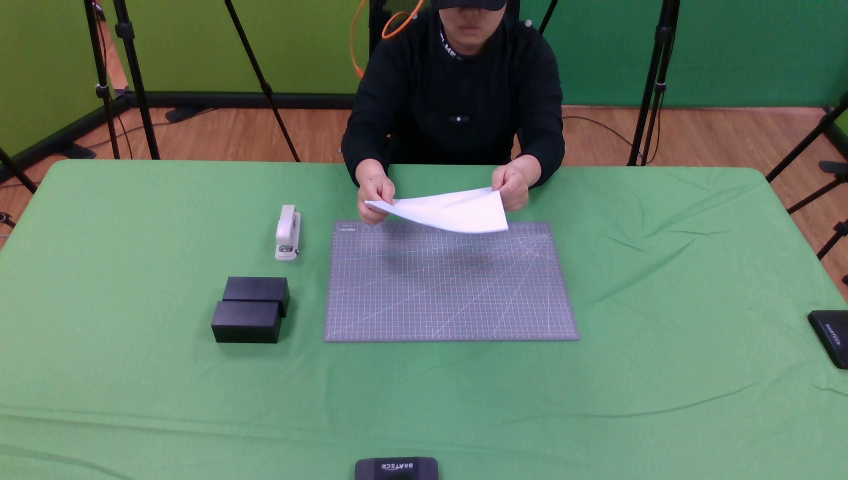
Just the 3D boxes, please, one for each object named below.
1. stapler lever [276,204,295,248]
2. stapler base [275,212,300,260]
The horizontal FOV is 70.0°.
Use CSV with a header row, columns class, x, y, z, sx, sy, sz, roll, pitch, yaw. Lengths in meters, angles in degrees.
class,x,y,z,sx,sy,sz,roll,pitch,yaw
stapler lever,-0.268,-0.033,1.175,0.027,0.040,0.117,0,46,-7
stapler base,-0.268,-0.016,1.191,0.041,0.024,0.129,0,44,-7
